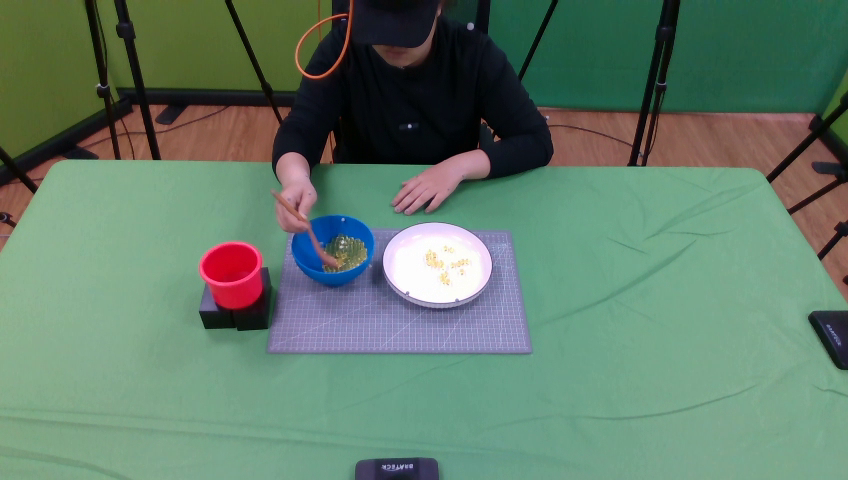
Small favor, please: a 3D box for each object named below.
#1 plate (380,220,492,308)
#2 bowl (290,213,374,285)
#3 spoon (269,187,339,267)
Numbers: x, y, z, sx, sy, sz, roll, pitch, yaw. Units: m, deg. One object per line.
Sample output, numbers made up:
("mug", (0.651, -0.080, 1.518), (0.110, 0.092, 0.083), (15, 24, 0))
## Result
("plate", (0.022, 0.048, 1.138), (0.208, 0.039, 0.206), (2, 46, -2))
("bowl", (-0.166, 0.030, 1.113), (0.151, 0.077, 0.150), (2, 46, -2))
("spoon", (-0.206, -0.020, 1.051), (0.021, 0.195, 0.041), (-31, 32, 0))
